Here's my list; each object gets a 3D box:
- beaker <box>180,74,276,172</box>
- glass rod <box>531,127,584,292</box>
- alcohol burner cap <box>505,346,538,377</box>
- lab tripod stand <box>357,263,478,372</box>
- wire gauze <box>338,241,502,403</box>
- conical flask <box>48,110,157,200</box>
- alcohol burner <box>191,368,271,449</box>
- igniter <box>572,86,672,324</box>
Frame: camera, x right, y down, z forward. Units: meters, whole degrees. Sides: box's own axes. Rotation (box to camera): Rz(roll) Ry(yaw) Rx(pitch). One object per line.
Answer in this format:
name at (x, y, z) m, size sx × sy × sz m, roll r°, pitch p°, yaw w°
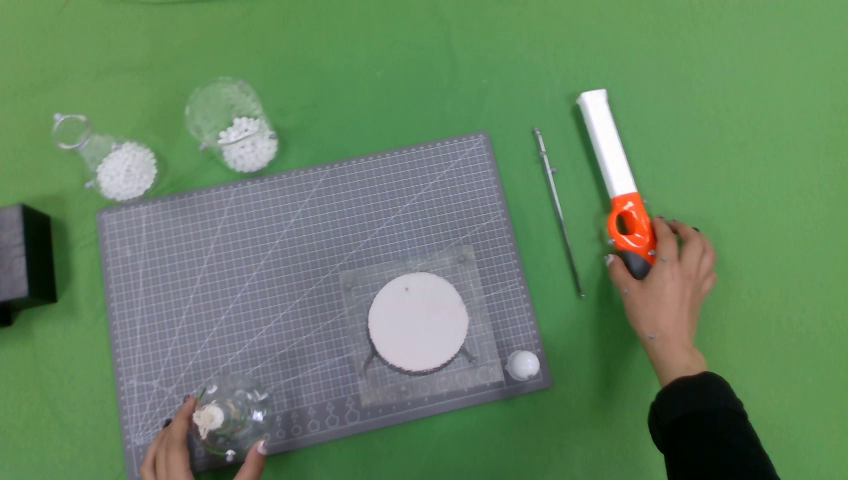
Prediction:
beaker at (-0.202, -0.119, 0.651) m, size 0.084 × 0.100 × 0.074 m, roll 23°, pitch 79°, yaw 4°
glass rod at (0.150, -0.037, 0.684) m, size 0.008 × 0.008 × 0.198 m, roll -13°, pitch 78°, yaw -4°
alcohol burner cap at (0.103, 0.126, 0.630) m, size 0.034 × 0.048 × 0.033 m, roll 0°, pitch 78°, yaw 0°
lab tripod stand at (-0.010, 0.086, 0.590) m, size 0.148 × 0.132 × 0.148 m, roll 0°, pitch 80°, yaw 0°
wire gauze at (-0.005, 0.070, 0.524) m, size 0.125 × 0.011 × 0.121 m, roll -11°, pitch 80°, yaw -2°
conical flask at (-0.337, -0.092, 0.631) m, size 0.075 × 0.122 × 0.075 m, roll 0°, pitch 78°, yaw -1°
alcohol burner at (-0.190, 0.163, 0.582) m, size 0.078 × 0.119 × 0.077 m, roll 0°, pitch 80°, yaw -2°
igniter at (0.221, -0.043, 0.677) m, size 0.057 × 0.025 × 0.275 m, roll -12°, pitch 79°, yaw -14°
